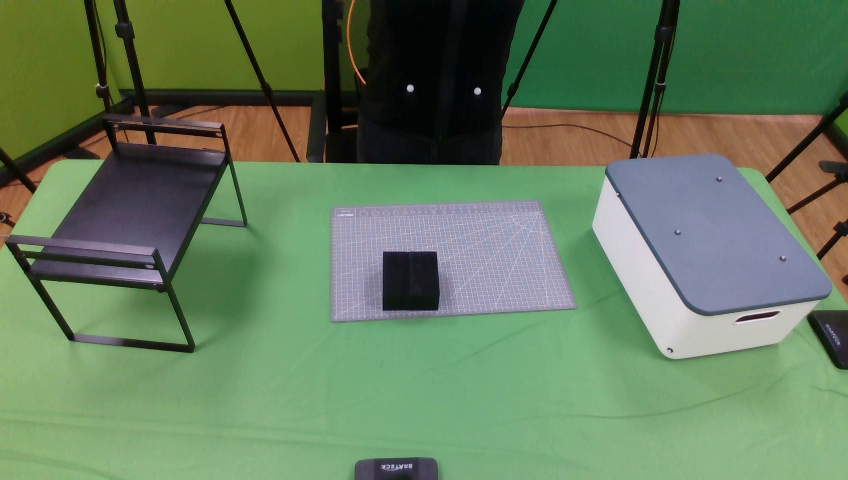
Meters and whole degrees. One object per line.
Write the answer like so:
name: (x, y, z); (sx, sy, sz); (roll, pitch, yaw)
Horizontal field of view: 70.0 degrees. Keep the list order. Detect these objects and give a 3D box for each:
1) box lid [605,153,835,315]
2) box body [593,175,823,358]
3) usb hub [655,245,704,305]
box lid: (0.499, -0.030, 1.060); (0.264, 0.015, 0.369); (-6, 47, -10)
box body: (0.497, 0.023, 1.112); (0.254, 0.161, 0.361); (-7, 47, -10)
usb hub: (0.482, 0.065, 1.148); (0.049, 0.025, 0.124); (-1, 53, -8)
